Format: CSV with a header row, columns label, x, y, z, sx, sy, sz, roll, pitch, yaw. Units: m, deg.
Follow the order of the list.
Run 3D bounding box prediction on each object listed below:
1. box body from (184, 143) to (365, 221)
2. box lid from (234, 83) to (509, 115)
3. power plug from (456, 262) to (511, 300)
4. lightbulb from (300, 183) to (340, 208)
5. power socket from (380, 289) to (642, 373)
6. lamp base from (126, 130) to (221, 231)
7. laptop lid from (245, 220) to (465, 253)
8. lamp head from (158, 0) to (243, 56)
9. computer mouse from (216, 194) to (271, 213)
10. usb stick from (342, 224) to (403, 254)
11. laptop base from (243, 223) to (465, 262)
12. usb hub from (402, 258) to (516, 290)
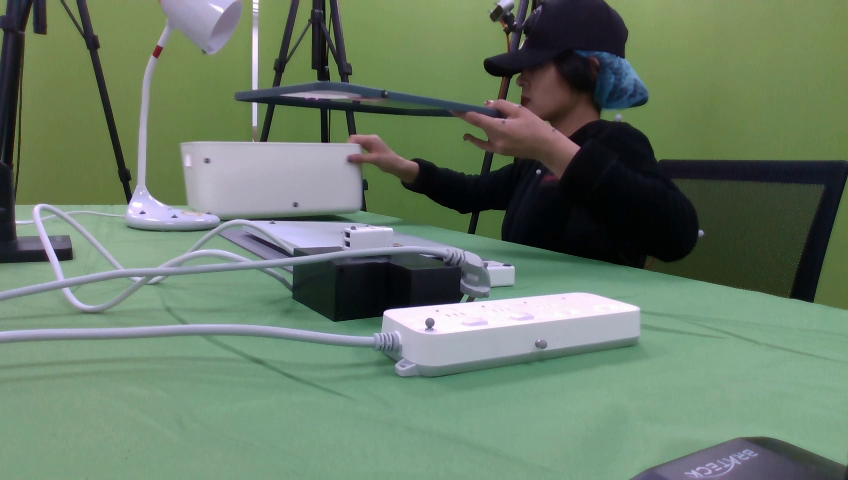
label,x,y,z,sx,sy,sz,roll,pitch,yaw
box body,-0.341,-0.141,1.385,0.366,0.160,0.253,-5,9,-28
box lid,-0.074,-0.212,0.937,0.373,0.015,0.262,-7,11,-43
power plug,0.052,0.051,0.543,0.035,0.052,0.072,6,37,-20
lightbulb,-0.249,-0.102,1.466,0.108,0.059,0.059,17,-5,-42
power socket,0.072,0.064,0.461,0.228,0.032,0.072,-2,8,-30
lamp base,-0.469,-0.112,1.108,0.179,0.180,0.160,0,7,3
laptop lid,-0.124,-0.009,0.945,0.243,0.013,0.355,1,7,-29
lamp head,-0.398,-0.397,1.057,0.123,0.112,0.112,27,5,-7
computer mouse,-0.405,-0.081,1.360,0.118,0.041,0.062,0,4,-29
usb stick,-0.047,-0.001,0.567,0.059,0.027,0.021,0,5,-32
laptop base,-0.126,0.003,0.946,0.237,0.023,0.352,2,6,-31
usb hub,0.041,0.038,0.690,0.126,0.025,0.049,-2,10,-30
